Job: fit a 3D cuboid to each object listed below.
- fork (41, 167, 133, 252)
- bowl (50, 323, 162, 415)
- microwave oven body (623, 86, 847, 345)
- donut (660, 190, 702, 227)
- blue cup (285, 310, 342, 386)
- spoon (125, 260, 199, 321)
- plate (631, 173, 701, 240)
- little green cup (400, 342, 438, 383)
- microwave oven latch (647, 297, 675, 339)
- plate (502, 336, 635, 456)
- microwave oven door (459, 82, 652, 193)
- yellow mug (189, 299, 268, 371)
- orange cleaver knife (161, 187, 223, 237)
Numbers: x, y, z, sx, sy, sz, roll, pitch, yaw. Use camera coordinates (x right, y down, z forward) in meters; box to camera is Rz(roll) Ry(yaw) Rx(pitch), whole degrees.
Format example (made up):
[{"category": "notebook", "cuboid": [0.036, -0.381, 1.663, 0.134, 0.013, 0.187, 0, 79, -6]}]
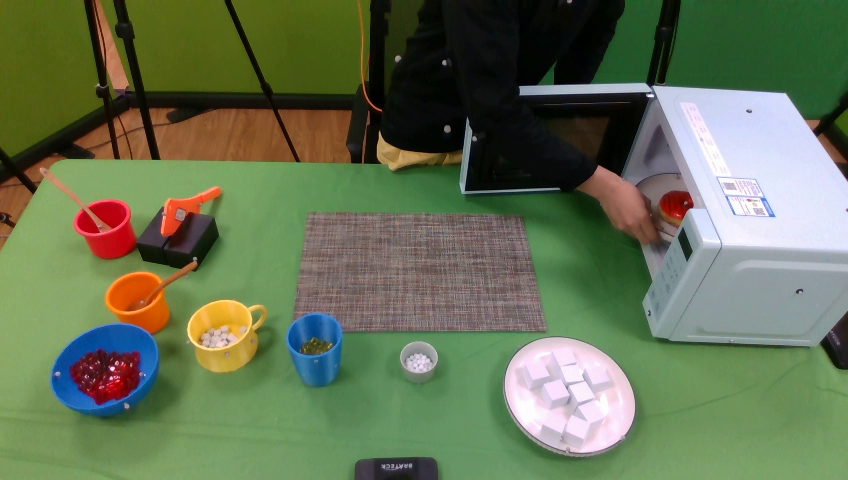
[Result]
[{"category": "fork", "cuboid": [-0.624, -0.055, 1.121, 0.208, 0.018, 0.028, 49, 52, -15]}, {"category": "bowl", "cuboid": [-0.472, 0.209, 0.924, 0.151, 0.077, 0.150, 2, 45, -2]}, {"category": "microwave oven body", "cuboid": [0.567, -0.053, 1.118, 0.326, 0.261, 0.439, 2, 45, -1]}, {"category": "donut", "cuboid": [0.503, -0.059, 1.159, 0.099, 0.048, 0.098, 2, 39, -2]}, {"category": "blue cup", "cuboid": [-0.169, 0.179, 0.958, 0.093, 0.101, 0.092, 1, 44, -1]}, {"category": "spoon", "cuboid": [-0.435, 0.083, 1.000, 0.022, 0.194, 0.041, 35, 34, -35]}, {"category": "plate", "cuboid": [0.505, -0.056, 1.166, 0.209, 0.038, 0.208, 0, 41, 0]}, {"category": "little green cup", "cuboid": [-0.009, 0.202, 0.991, 0.061, 0.039, 0.061, 2, 47, -2]}, {"category": "microwave oven latch", "cuboid": [0.413, 0.134, 1.061, 0.030, 0.029, 0.078, 5, 45, 2]}, {"category": "plate", "cuboid": [0.225, 0.248, 0.963, 0.208, 0.039, 0.206, 2, 46, -2]}, {"category": "microwave oven door", "cuboid": [0.259, -0.206, 1.238, 0.356, 0.245, 0.039, -3, 46, -7]}, {"category": "yellow mug", "cuboid": [-0.316, 0.148, 1.002, 0.131, 0.064, 0.099, -32, 56, -31]}, {"category": "orange cleaver knife", "cuboid": [-0.448, -0.058, 1.181, 0.012, 0.077, 0.211, 13, 17, 6]}]
